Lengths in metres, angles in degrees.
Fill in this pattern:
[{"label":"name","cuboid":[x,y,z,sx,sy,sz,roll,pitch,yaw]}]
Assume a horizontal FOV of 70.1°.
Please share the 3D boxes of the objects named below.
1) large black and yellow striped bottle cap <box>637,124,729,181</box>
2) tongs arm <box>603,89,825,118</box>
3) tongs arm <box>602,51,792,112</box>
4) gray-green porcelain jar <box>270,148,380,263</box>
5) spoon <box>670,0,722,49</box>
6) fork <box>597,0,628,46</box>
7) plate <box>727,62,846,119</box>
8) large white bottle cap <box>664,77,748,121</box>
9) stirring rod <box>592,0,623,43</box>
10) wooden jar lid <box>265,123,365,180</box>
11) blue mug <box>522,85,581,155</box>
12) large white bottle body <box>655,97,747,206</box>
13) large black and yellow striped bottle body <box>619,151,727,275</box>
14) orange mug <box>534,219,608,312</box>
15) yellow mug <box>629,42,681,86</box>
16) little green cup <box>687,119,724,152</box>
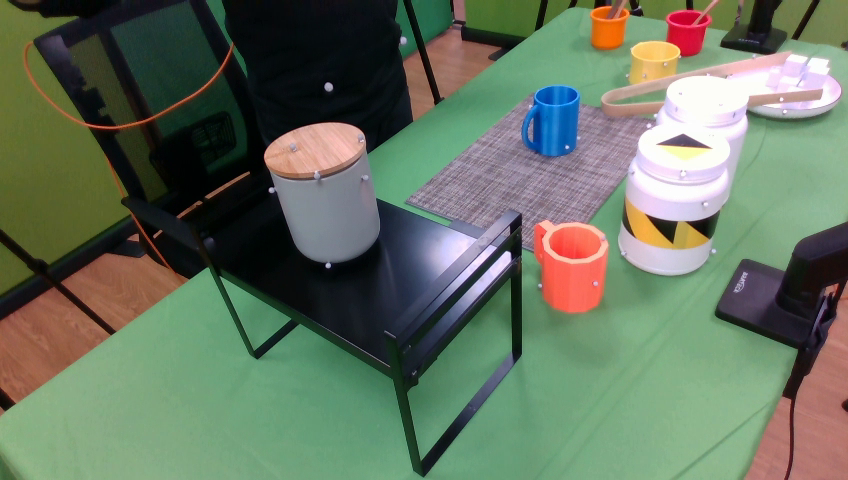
[{"label":"large black and yellow striped bottle cap","cuboid":[0.346,-0.119,0.810,0.115,0.019,0.114,-5,41,5]},{"label":"tongs arm","cuboid":[0.546,-0.263,1.162,0.386,0.028,0.028,-1,48,18]},{"label":"tongs arm","cuboid":[0.552,-0.320,1.223,0.384,0.027,0.050,-10,43,7]},{"label":"gray-green porcelain jar","cuboid":[-0.109,-0.045,0.692,0.106,0.127,0.105,-4,40,4]},{"label":"spoon","cuboid":[0.639,-0.510,1.380,0.193,0.022,0.041,-50,39,19]},{"label":"fork","cuboid":[0.479,-0.558,1.455,0.028,0.019,0.207,35,100,38]},{"label":"plate","cuboid":[0.709,-0.292,1.197,0.207,0.039,0.206,-4,40,4]},{"label":"large white bottle cap","cuboid":[0.421,-0.212,0.905,0.115,0.018,0.114,-4,40,4]},{"label":"stirring rod","cuboid":[0.460,-0.557,1.461,0.014,0.176,0.006,35,11,22]},{"label":"wooden jar lid","cuboid":[-0.115,-0.092,0.651,0.108,0.021,0.108,-4,38,4]},{"label":"blue mug","cuboid":[0.233,-0.218,1.127,0.117,0.106,0.081,-23,43,-16]},{"label":"large white bottle body","cuboid":[0.430,-0.148,0.959,0.130,0.185,0.130,-4,41,4]},{"label":"large black and yellow striped bottle body","cuboid":[0.354,-0.056,0.865,0.131,0.185,0.130,-4,41,4]},{"label":"orange mug","cuboid":[0.200,0.027,0.858,0.084,0.101,0.125,-24,47,-18]},{"label":"yellow mug","cuboid":[0.495,-0.389,1.321,0.100,0.064,0.130,-14,40,-6]},{"label":"little green cup","cuboid":[0.514,-0.191,1.109,0.061,0.039,0.061,-5,40,5]}]
